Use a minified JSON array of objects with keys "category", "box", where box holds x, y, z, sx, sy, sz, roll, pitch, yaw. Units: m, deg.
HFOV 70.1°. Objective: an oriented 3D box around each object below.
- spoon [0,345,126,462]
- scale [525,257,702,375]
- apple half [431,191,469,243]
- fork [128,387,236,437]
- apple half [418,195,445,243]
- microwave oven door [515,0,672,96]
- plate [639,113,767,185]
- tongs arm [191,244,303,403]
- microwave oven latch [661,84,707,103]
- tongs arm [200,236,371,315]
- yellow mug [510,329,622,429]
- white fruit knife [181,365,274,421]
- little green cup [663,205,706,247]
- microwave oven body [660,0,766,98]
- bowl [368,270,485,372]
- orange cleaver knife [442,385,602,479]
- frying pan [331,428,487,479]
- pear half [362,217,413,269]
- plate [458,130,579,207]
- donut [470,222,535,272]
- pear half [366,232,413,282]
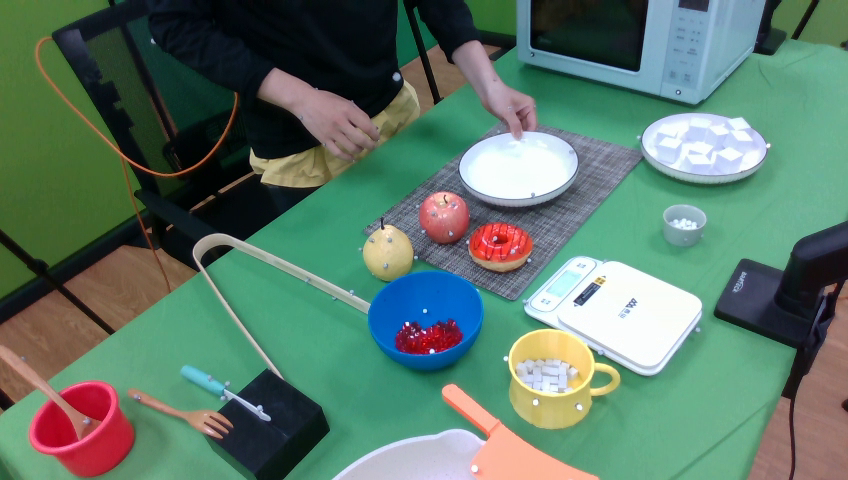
[{"category":"spoon","box":[-0.434,0.192,0.720,0.194,0.021,0.042,47,53,-7]},{"category":"scale","box":[0.254,0.091,0.821,0.199,0.032,0.149,28,51,35]},{"category":"apple half","box":[0.045,-0.038,0.967,0.053,0.075,0.080,-14,37,-11]},{"category":"fork","box":[-0.305,0.207,0.744,0.206,0.019,0.028,3,40,36]},{"category":"apple half","box":[0.009,-0.028,0.959,0.033,0.081,0.080,-14,41,-11]},{"category":"microwave oven door","box":[0.343,-0.455,1.259,0.353,0.245,0.039,26,51,33]},{"category":"plate","box":[0.489,-0.157,1.074,0.207,0.039,0.206,-4,40,4]},{"category":"tongs arm","box":[-0.268,0.109,0.882,0.028,0.028,0.384,-35,46,-19]},{"category":"microwave oven latch","box":[0.517,-0.296,1.204,0.078,0.029,0.030,27,52,35]},{"category":"tongs arm","box":[-0.209,0.062,0.924,0.381,0.026,0.051,23,52,32]},{"category":"yellow mug","box":[0.168,0.164,0.721,0.130,0.064,0.099,0,40,8]},{"category":"white fruit knife","box":[-0.245,0.187,0.747,0.205,0.027,0.016,9,41,41]},{"category":"little green cup","box":[0.396,-0.020,0.926,0.061,0.039,0.061,-4,40,4]},{"category":"microwave oven body","box":[0.472,-0.513,1.317,0.438,0.261,0.327,26,51,34]},{"category":"bowl","box":[0.007,0.118,0.791,0.151,0.077,0.150,-5,40,4]},{"category":"orange cleaver knife","box":[0.086,0.219,0.612,0.209,0.012,0.077,28,48,35]},{"category":"frying pan","box":[-0.089,0.306,0.564,0.487,0.103,0.306,10,41,7]},{"category":"pear half","box":[-0.059,0.002,0.913,0.076,0.110,0.055,-14,40,-13]},{"category":"plate","box":[0.163,-0.121,1.051,0.209,0.038,0.208,-5,41,5]},{"category":"donut","box":[0.119,0.009,0.923,0.099,0.048,0.098,-4,38,3]},{"category":"pear half","box":[-0.048,0.031,0.893,0.071,0.088,0.031,-16,40,-13]}]
